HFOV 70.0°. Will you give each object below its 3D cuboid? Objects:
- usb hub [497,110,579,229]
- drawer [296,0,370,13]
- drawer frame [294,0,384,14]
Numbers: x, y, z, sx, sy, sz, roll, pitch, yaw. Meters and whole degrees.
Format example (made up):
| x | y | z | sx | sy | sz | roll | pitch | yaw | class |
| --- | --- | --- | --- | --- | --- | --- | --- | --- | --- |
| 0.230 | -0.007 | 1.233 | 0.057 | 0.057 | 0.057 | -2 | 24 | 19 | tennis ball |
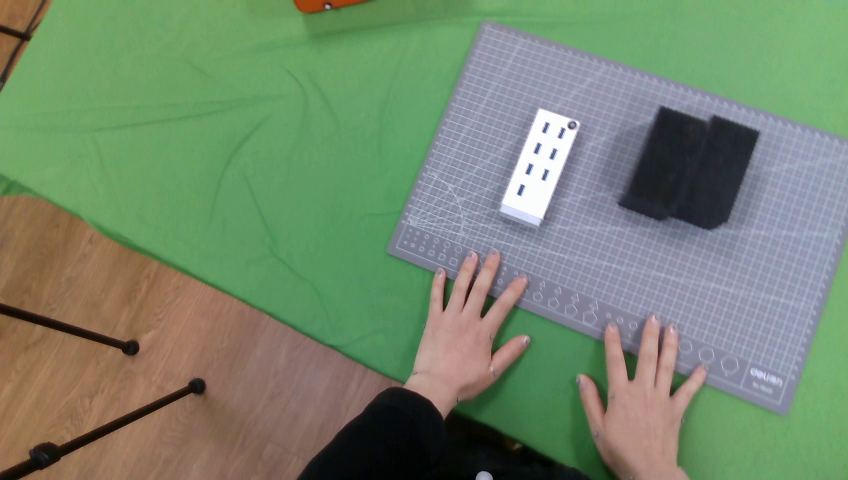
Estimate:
| x | y | z | sx | sy | sz | roll | pitch | yaw | class |
| --- | --- | --- | --- | --- | --- | --- | --- | --- | --- |
| 0.126 | -0.078 | 0.670 | 0.049 | 0.025 | 0.125 | 22 | 84 | 8 | usb hub |
| -0.071 | -0.395 | 0.719 | 0.194 | 0.073 | 0.210 | -10 | 79 | 5 | drawer |
| -0.071 | -0.397 | 0.715 | 0.201 | 0.083 | 0.212 | -10 | 79 | 5 | drawer frame |
